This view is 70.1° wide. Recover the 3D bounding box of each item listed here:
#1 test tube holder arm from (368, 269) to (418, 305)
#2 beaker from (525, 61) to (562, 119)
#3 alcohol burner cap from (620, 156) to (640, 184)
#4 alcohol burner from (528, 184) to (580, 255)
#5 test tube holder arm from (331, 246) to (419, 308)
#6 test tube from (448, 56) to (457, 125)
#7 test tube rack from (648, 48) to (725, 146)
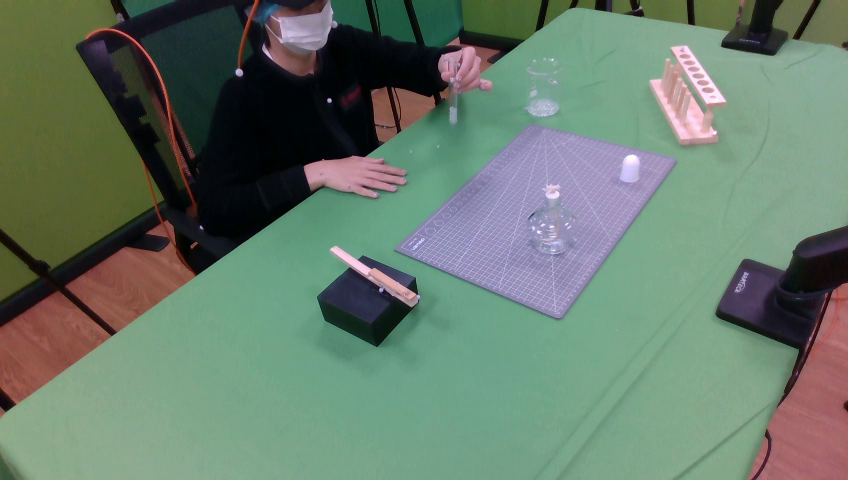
[{"bbox_3d":[-0.043,0.063,0.827,0.015,0.010,0.087,-36,46,-29],"label":"test tube holder arm"},{"bbox_3d":[0.248,-0.309,1.246,0.073,0.101,0.084,29,52,36],"label":"beaker"},{"bbox_3d":[0.358,-0.124,1.047,0.034,0.048,0.033,-4,40,4],"label":"alcohol burner cap"},{"bbox_3d":[0.196,-0.036,0.911,0.078,0.119,0.077,-6,41,5],"label":"alcohol burner"},{"bbox_3d":[-0.074,0.050,0.858,0.177,0.013,0.015,29,52,36],"label":"test tube holder arm"},{"bbox_3d":[0.049,-0.257,1.054,0.017,0.151,0.017,-1,56,2],"label":"test tube"},{"bbox_3d":[0.508,-0.285,1.186,0.067,0.085,0.241,-4,40,6],"label":"test tube rack"}]
